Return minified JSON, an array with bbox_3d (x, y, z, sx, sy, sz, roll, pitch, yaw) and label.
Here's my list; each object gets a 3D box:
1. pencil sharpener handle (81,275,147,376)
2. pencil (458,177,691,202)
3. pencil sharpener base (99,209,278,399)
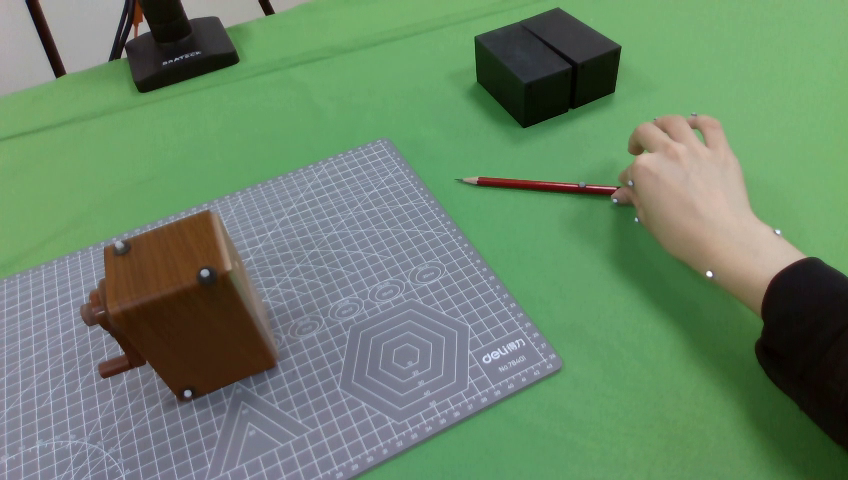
[{"bbox_3d":[-0.197,0.056,0.373,0.031,0.068,0.035,-21,38,-11],"label":"pencil sharpener handle"},{"bbox_3d":[0.124,-0.045,0.516,0.193,0.012,0.012,6,48,14],"label":"pencil"},{"bbox_3d":[-0.150,0.045,0.395,0.077,0.108,0.060,-21,48,-11],"label":"pencil sharpener base"}]
